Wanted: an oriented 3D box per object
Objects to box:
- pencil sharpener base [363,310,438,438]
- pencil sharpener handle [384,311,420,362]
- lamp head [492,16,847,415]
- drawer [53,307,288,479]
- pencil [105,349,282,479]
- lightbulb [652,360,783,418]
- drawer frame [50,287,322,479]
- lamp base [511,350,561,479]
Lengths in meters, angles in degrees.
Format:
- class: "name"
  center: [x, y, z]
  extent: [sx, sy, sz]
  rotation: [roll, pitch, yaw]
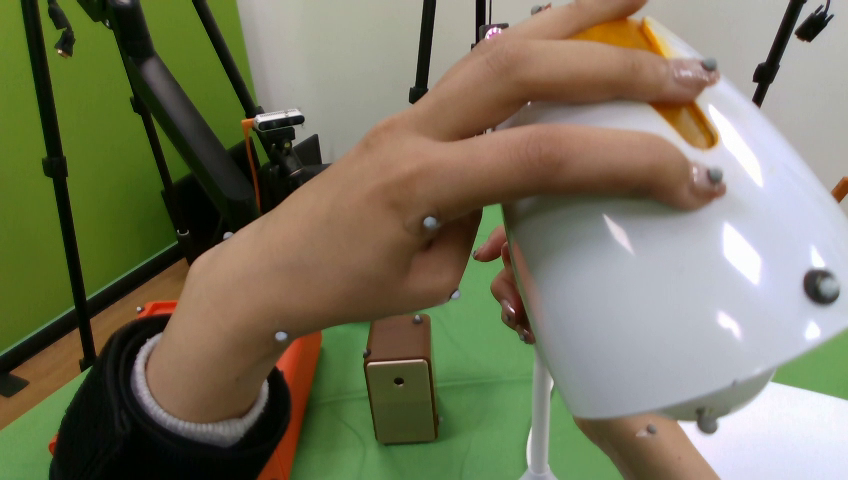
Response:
- class: "pencil sharpener base"
  center: [-0.020, 0.130, 0.595]
  extent: [0.061, 0.108, 0.076]
  rotation: [-4, 30, 3]
- class: "pencil sharpener handle"
  center: [-0.022, 0.095, 0.632]
  extent: [0.036, 0.068, 0.030]
  rotation: [1, 30, 0]
- class: "lamp head"
  center: [0.076, -0.014, 0.222]
  extent: [0.112, 0.112, 0.122]
  rotation: [-22, 78, -26]
- class: "drawer"
  center: [-0.222, 0.148, 0.624]
  extent: [0.194, 0.074, 0.210]
  rotation: [-4, 29, 3]
- class: "pencil"
  center: [-0.221, 0.167, 0.598]
  extent: [0.194, 0.012, 0.012]
  rotation: [-36, 41, -24]
- class: "lightbulb"
  center: [0.086, 0.008, 0.213]
  extent: [0.059, 0.107, 0.059]
  rotation: [-15, -5, -1]
- class: "drawer frame"
  center: [-0.224, 0.145, 0.625]
  extent: [0.201, 0.083, 0.211]
  rotation: [-5, 29, 2]
- class: "lamp base"
  center: [0.081, 0.180, 0.416]
  extent: [0.161, 0.181, 0.178]
  rotation: [-5, 24, 0]
